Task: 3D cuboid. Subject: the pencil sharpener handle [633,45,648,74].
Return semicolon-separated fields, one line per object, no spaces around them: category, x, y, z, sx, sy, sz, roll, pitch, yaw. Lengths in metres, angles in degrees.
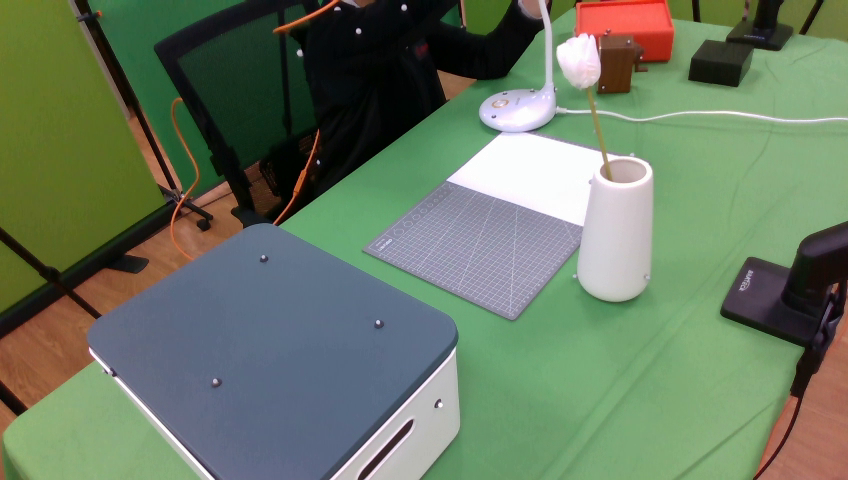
pencil sharpener handle;0.454;-0.378;1.262;0.030;0.068;0.036;1;47;13

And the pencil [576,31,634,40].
pencil;0.430;-0.487;1.443;0.012;0.012;0.192;-25;30;-18

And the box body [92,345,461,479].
box body;-0.162;0.170;0.708;0.361;0.161;0.255;25;50;34

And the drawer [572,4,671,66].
drawer;0.461;-0.490;1.435;0.211;0.073;0.194;2;40;12

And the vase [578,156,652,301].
vase;0.261;-0.011;0.812;0.098;0.201;0.097;-4;40;4

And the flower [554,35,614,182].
flower;0.237;-0.083;0.774;0.044;0.363;0.038;-22;26;6

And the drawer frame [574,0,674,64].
drawer frame;0.464;-0.492;1.434;0.213;0.083;0.201;1;40;12

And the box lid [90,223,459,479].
box lid;-0.174;0.102;0.666;0.368;0.015;0.264;24;48;35

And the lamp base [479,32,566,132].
lamp base;0.200;-0.332;1.218;0.179;0.181;0.160;1;41;7

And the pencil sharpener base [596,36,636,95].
pencil sharpener base;0.406;-0.369;1.280;0.076;0.107;0.061;1;41;13
